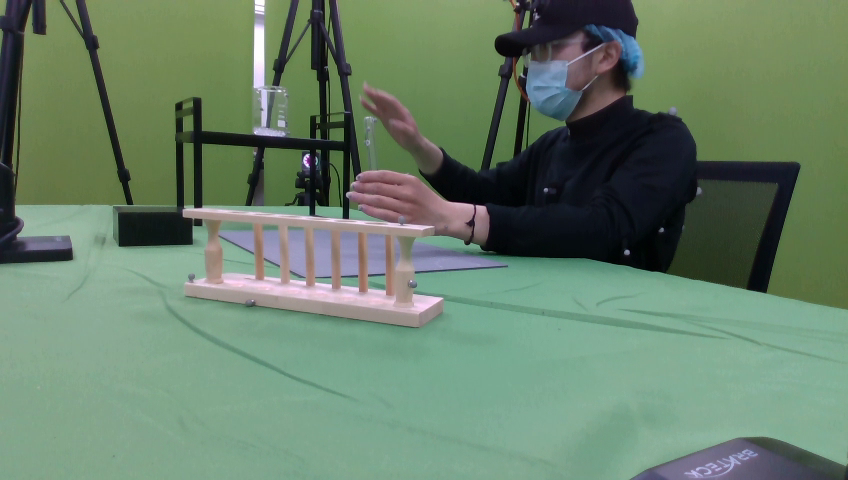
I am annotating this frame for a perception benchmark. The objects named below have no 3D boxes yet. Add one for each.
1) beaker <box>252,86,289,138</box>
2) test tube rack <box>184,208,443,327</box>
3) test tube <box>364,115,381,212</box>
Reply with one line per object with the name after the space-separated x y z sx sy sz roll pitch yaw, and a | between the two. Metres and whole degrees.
-0.319 -0.263 1.250 0.074 0.100 0.084 5 8 21 | beaker
-0.106 0.019 0.570 0.241 0.085 0.067 5 7 20 | test tube rack
-0.080 -0.119 0.942 0.017 0.150 0.017 -4 4 1 | test tube
